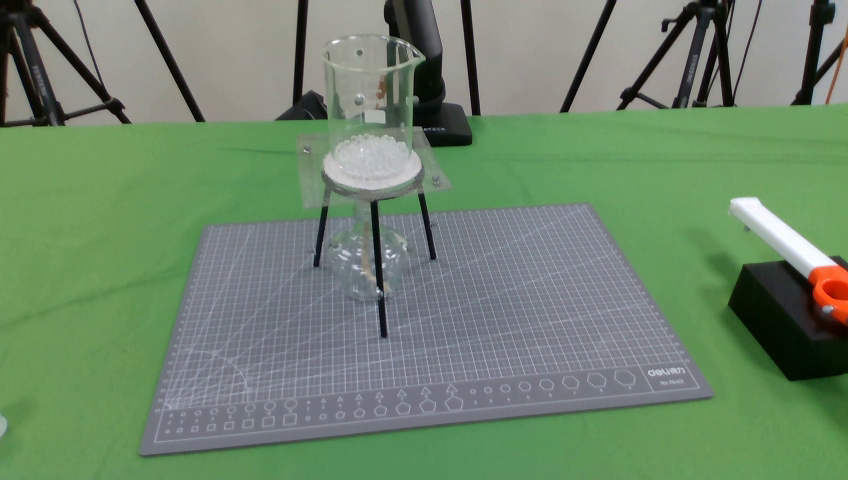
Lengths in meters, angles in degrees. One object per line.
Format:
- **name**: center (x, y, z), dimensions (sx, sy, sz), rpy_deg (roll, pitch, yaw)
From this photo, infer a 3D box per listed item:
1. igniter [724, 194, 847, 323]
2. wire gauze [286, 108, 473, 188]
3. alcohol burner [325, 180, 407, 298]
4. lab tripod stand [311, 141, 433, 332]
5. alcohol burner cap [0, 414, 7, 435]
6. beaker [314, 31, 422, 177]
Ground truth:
- **igniter**: center (0.352, 0.033, 0.528), dimensions (0.057, 0.025, 0.273), rpy_deg (-4, 34, -8)
- **wire gauze**: center (-0.039, -0.079, 0.514), dimensions (0.125, 0.011, 0.120), rpy_deg (-16, 38, -29)
- **alcohol burner**: center (-0.054, -0.004, 0.566), dimensions (0.078, 0.120, 0.077), rpy_deg (3, 36, -2)
- **lab tripod stand**: center (-0.045, -0.011, 0.558), dimensions (0.148, 0.132, 0.147), rpy_deg (2, 37, -1)
- **alcohol burner cap**: center (-0.333, 0.127, 0.443), dimensions (0.034, 0.048, 0.033), rpy_deg (3, 35, -1)
- **beaker**: center (-0.044, -0.110, 0.499), dimensions (0.084, 0.101, 0.073), rpy_deg (-6, 40, -10)
